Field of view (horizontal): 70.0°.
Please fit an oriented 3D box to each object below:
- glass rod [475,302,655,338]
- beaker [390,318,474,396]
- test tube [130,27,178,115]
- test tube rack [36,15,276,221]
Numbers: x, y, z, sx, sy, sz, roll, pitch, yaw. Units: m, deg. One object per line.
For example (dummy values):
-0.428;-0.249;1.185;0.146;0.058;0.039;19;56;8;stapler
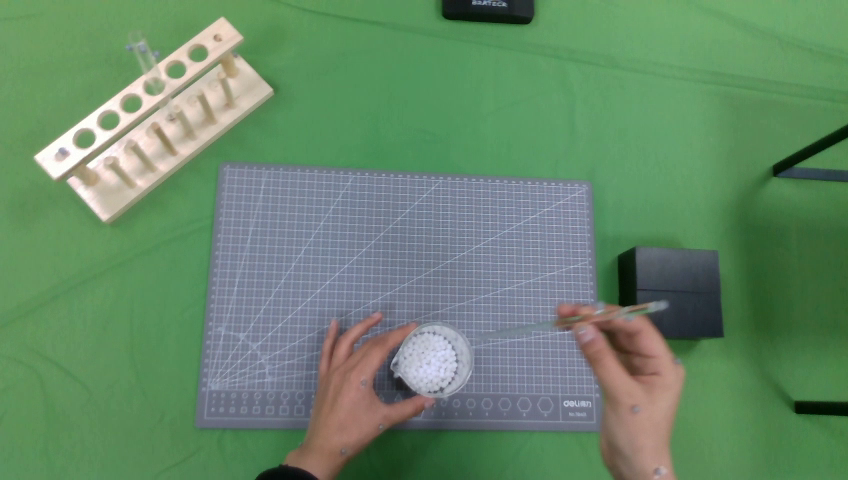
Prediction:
0.099;0.065;0.476;0.008;0.199;0.008;9;73;-29;glass rod
0.004;0.126;0.638;0.084;0.100;0.073;-8;78;-8;beaker
-0.276;-0.170;0.628;0.017;0.150;0.017;3;73;-10;test tube
-0.284;-0.133;0.670;0.242;0.085;0.066;-42;85;-13;test tube rack
